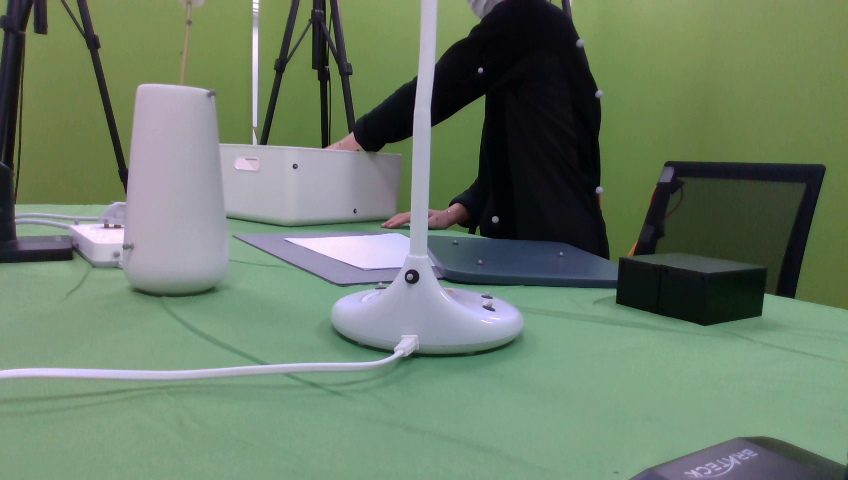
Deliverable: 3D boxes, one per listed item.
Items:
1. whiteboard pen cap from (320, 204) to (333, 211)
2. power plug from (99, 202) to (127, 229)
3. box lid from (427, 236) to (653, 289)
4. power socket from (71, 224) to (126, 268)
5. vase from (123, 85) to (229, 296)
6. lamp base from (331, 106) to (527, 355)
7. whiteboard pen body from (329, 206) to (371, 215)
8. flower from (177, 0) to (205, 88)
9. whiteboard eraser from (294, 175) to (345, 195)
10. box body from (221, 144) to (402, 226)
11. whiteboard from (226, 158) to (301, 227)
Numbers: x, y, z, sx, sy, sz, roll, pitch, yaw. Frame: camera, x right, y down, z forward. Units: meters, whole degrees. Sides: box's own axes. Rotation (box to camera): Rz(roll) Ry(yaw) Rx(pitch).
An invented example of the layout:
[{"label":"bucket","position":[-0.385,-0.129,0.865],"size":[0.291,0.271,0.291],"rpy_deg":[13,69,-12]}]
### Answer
[{"label":"whiteboard pen cap","position":[-0.247,-0.082,1.536],"size":[0.033,0.018,0.018],"rpy_deg":[8,10,39]},{"label":"power plug","position":[-0.415,-0.026,0.848],"size":[0.073,0.052,0.035],"rpy_deg":[6,5,-28]},{"label":"box lid","position":[0.139,0.028,0.886],"size":[0.264,0.015,0.371],"rpy_deg":[2,7,-6]},{"label":"power socket","position":[-0.409,0.004,0.793],"size":[0.072,0.032,0.225],"rpy_deg":[-2,8,-37]},{"label":"vase","position":[-0.244,-0.047,0.598],"size":[0.098,0.200,0.098],"rpy_deg":[3,8,0]},{"label":"lamp base","position":[0.006,-0.012,0.478],"size":[0.161,0.180,0.179],"rpy_deg":[2,10,2]},{"label":"whiteboard pen body","position":[-0.189,-0.075,1.522],"size":[0.140,0.017,0.017],"rpy_deg":[7,9,37]},{"label":"flower","position":[-0.243,-0.131,0.609],"size":[0.044,0.361,0.038],"rpy_deg":[-5,-12,11]},{"label":"whiteboard eraser","position":[-0.247,-0.130,1.424],"size":[0.112,0.042,0.056],"rpy_deg":[8,13,28]},{"label":"box body","position":[-0.254,-0.128,1.379],"size":[0.253,0.160,0.366],"rpy_deg":[8,9,36]},{"label":"whiteboard","position":[-0.265,-0.117,1.373],"size":[0.216,0.143,0.307],"rpy_deg":[5,7,36]}]
